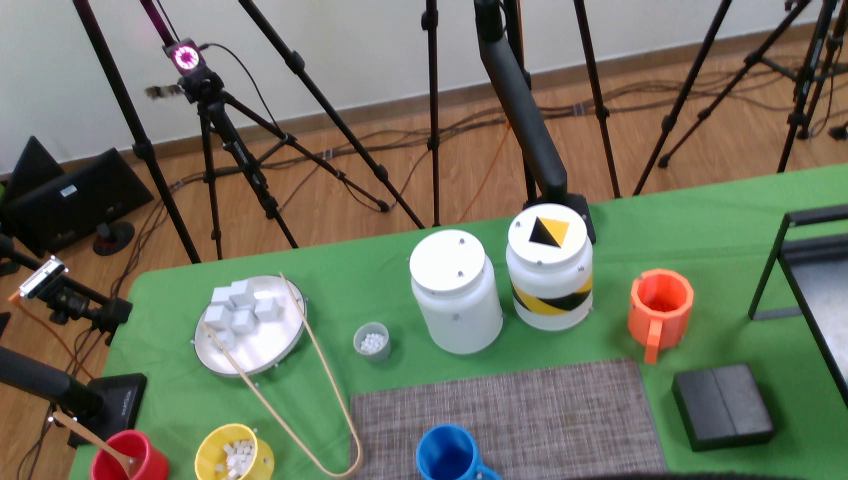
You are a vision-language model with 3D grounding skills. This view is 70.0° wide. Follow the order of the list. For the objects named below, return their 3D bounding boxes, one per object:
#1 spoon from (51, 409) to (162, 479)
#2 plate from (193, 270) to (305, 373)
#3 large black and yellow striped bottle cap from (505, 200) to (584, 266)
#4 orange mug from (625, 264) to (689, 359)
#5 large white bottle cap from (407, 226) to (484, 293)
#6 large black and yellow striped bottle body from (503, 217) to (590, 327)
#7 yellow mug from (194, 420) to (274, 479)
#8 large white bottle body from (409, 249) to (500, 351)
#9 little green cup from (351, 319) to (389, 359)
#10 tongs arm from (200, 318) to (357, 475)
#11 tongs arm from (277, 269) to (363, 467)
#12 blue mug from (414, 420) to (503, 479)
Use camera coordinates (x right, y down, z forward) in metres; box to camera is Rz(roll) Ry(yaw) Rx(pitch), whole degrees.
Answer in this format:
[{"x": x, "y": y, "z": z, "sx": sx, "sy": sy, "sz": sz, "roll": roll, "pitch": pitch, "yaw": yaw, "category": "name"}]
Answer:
[{"x": -0.494, "y": 0.320, "z": 0.942, "sx": 0.194, "sy": 0.021, "sz": 0.041, "roll": 41, "pitch": 62, "yaw": -12, "category": "spoon"}, {"x": -0.312, "y": 0.149, "z": 1.099, "sx": 0.207, "sy": 0.039, "sz": 0.205, "roll": -7, "pitch": 52, "yaw": 9, "category": "plate"}, {"x": 0.177, "y": -0.013, "z": 0.895, "sx": 0.115, "sy": 0.019, "sz": 0.114, "roll": -6, "pitch": 51, "yaw": 8, "category": "large black and yellow striped bottle cap"}, {"x": 0.348, "y": 0.112, "z": 0.918, "sx": 0.083, "sy": 0.102, "sz": 0.125, "roll": 10, "pitch": 51, "yaw": 22, "category": "orange mug"}, {"x": 0.031, "y": 0.028, "z": 0.899, "sx": 0.114, "sy": 0.018, "sz": 0.113, "roll": -7, "pitch": 51, "yaw": 10, "category": "large white bottle cap"}, {"x": 0.195, "y": 0.040, "z": 0.959, "sx": 0.130, "sy": 0.186, "sz": 0.129, "roll": -7, "pitch": 51, "yaw": 9, "category": "large black and yellow striped bottle body"}, {"x": -0.299, "y": 0.346, "z": 0.922, "sx": 0.099, "sy": 0.064, "sz": 0.130, "roll": 25, "pitch": 63, "yaw": 29, "category": "yellow mug"}, {"x": 0.049, "y": 0.079, "z": 0.965, "sx": 0.130, "sy": 0.186, "sz": 0.129, "roll": -7, "pitch": 51, "yaw": 9, "category": "large white bottle body"}, {"x": -0.089, "y": 0.170, "z": 1.025, "sx": 0.061, "sy": 0.039, "sz": 0.061, "roll": -7, "pitch": 52, "yaw": 9, "category": "little green cup"}, {"x": -0.247, "y": 0.240, "z": 0.985, "sx": 0.051, "sy": 0.027, "sz": 0.381, "roll": -38, "pitch": 60, "yaw": -20, "category": "tongs arm"}, {"x": -0.180, "y": 0.195, "z": 1.007, "sx": 0.028, "sy": 0.028, "sz": 0.383, "roll": -23, "pitch": 57, "yaw": -15, "category": "tongs arm"}, {"x": 0.052, "y": 0.310, "z": 0.829, "sx": 0.116, "sy": 0.107, "sz": 0.082, "roll": 12, "pitch": 56, "yaw": 23, "category": "blue mug"}]
